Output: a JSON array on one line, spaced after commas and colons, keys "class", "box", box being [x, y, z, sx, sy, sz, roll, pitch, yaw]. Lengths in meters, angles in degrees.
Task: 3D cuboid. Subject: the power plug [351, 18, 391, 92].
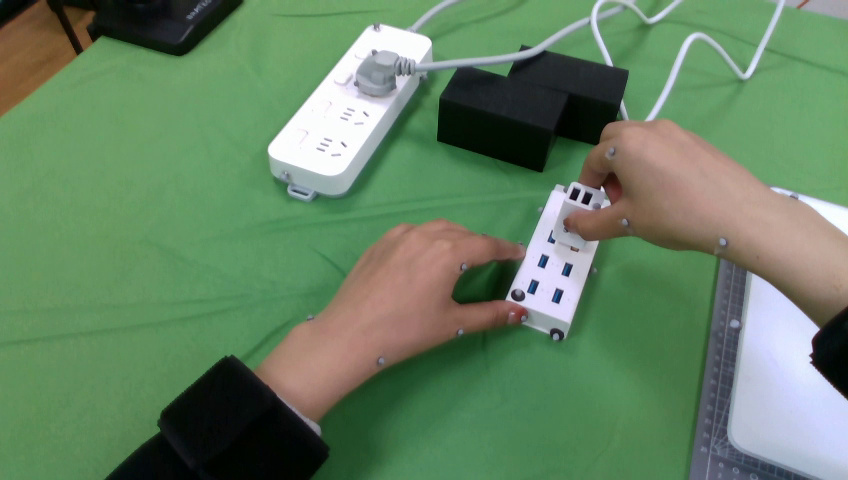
[{"class": "power plug", "box": [-0.046, -0.161, 0.552, 0.035, 0.053, 0.072, 12, 46, -5]}]

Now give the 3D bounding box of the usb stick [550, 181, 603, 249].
[{"class": "usb stick", "box": [0.108, -0.014, 0.436, 0.027, 0.059, 0.021, 19, 56, 14]}]

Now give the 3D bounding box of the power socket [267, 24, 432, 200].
[{"class": "power socket", "box": [-0.061, -0.125, 0.552, 0.072, 0.033, 0.225, 20, 54, 11]}]

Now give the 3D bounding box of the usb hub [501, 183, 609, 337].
[{"class": "usb hub", "box": [0.102, 0.011, 0.461, 0.049, 0.025, 0.124, 20, 54, 14]}]

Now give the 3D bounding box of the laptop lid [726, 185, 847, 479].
[{"class": "laptop lid", "box": [0.392, 0.096, 0.398, 0.355, 0.013, 0.240, 21, 57, 13]}]

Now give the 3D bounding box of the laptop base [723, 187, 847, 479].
[{"class": "laptop base", "box": [0.392, 0.101, 0.409, 0.353, 0.023, 0.234, 19, 58, 12]}]
